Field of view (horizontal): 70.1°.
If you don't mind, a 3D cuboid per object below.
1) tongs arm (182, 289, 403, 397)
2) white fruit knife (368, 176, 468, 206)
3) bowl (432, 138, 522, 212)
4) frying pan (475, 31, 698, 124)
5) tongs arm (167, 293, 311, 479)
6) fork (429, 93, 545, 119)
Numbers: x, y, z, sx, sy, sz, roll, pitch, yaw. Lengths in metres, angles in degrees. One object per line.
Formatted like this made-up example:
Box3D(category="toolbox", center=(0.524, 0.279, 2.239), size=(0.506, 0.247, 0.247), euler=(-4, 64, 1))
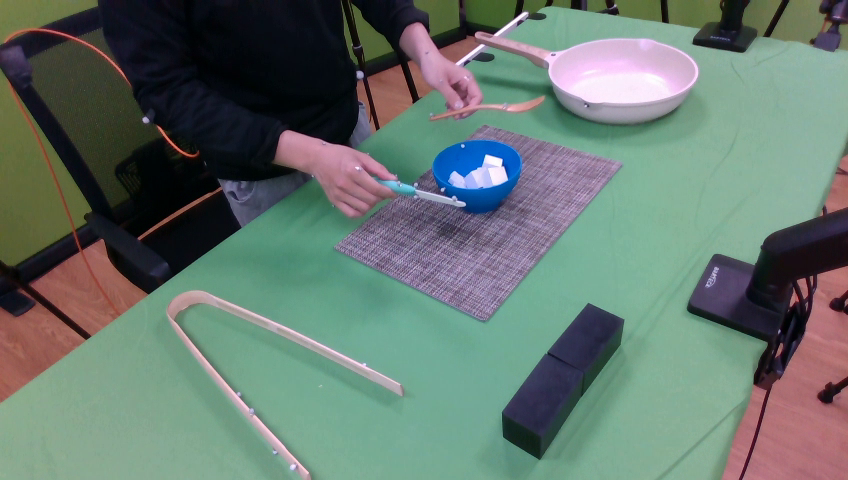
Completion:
Box3D(category="tongs arm", center=(-0.192, 0.135, 0.834), size=(0.385, 0.028, 0.028), euler=(18, 49, 26))
Box3D(category="white fruit knife", center=(-0.014, -0.071, 0.878), size=(0.205, 0.028, 0.016), euler=(16, 73, 42))
Box3D(category="bowl", center=(0.091, -0.100, 1.021), size=(0.151, 0.077, 0.150), euler=(-4, 41, 4))
Box3D(category="frying pan", center=(0.320, -0.371, 1.290), size=(0.485, 0.103, 0.307), euler=(28, 50, 23))
Box3D(category="tongs arm", center=(-0.245, 0.176, 0.787), size=(0.381, 0.026, 0.051), euler=(29, 51, 36))
Box3D(category="fork", center=(0.098, -0.215, 0.982), size=(0.206, 0.019, 0.028), euler=(0, 62, 28))
